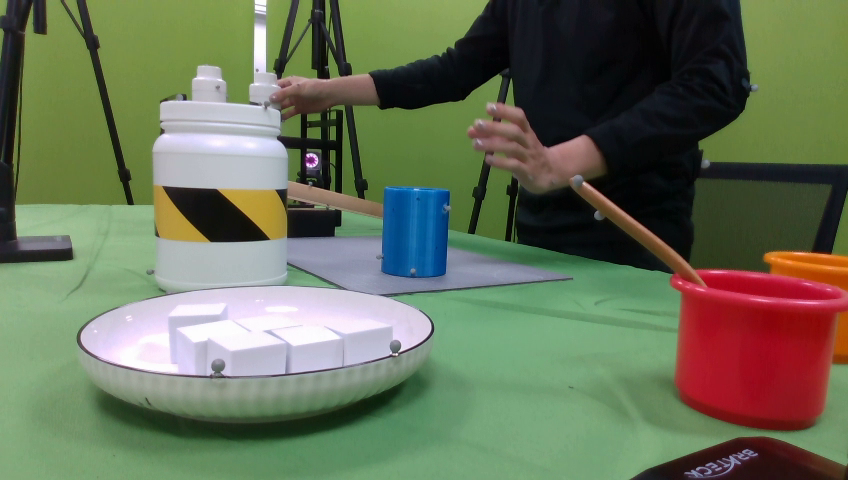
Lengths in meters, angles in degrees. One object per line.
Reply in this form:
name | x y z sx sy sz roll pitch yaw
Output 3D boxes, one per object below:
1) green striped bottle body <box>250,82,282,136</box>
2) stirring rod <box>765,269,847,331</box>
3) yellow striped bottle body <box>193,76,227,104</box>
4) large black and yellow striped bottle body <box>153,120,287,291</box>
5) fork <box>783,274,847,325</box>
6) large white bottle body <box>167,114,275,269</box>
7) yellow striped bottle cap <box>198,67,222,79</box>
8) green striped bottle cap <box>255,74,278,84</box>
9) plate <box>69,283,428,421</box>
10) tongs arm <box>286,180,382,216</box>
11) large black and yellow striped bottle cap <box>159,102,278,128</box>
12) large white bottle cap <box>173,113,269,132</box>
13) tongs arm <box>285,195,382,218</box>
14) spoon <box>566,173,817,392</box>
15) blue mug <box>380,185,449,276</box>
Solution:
green striped bottle body | -0.319 -0.271 1.218 0.063 0.119 0.063 3 8 0
stirring rod | 0.351 0.020 0.484 0.176 0.006 0.014 -40 -7 13
yellow striped bottle body | -0.414 -0.268 1.169 0.063 0.120 0.063 2 7 0
large black and yellow striped bottle body | -0.208 -0.043 0.626 0.131 0.184 0.130 2 7 0
fork | 0.332 0.018 0.443 0.028 0.018 0.207 -1 -36 -15
large white bottle body | -0.257 -0.063 0.771 0.131 0.184 0.130 2 7 0
yellow striped bottle cap | -0.411 -0.320 1.163 0.044 0.018 0.044 1 6 0
green striped bottle cap | -0.315 -0.321 1.211 0.044 0.020 0.044 4 10 0
plate | -0.102 0.066 0.381 0.208 0.039 0.207 2 7 0
tongs arm | -0.123 -0.066 1.148 0.387 0.026 0.050 11 -2 -37
large black and yellow striped bottle cap | -0.207 -0.125 0.615 0.115 0.019 0.115 2 6 0
large white bottle cap | -0.254 -0.146 0.760 0.115 0.018 0.115 1 7 0
tongs arm | -0.166 -0.074 1.216 0.389 0.027 0.028 12 -6 -24
spoon | 0.161 0.024 0.370 0.193 0.021 0.042 47 18 3
blue mug | -0.018 -0.016 0.764 0.083 0.106 0.116 -2 8 -25
